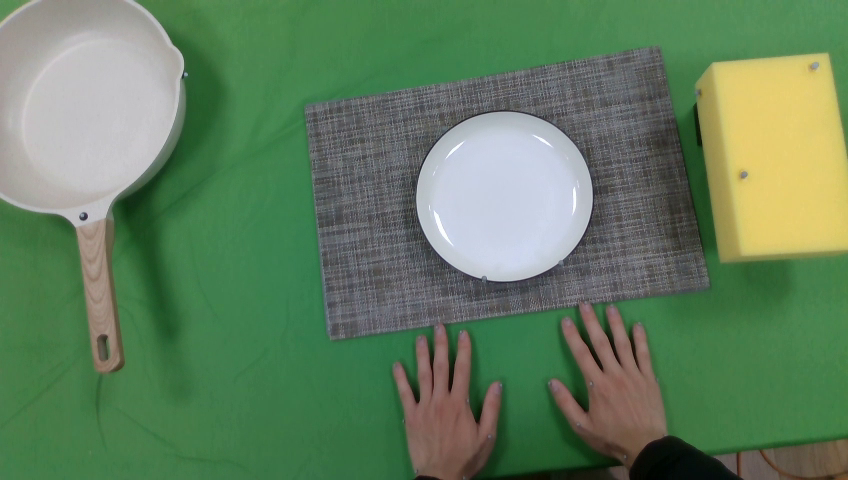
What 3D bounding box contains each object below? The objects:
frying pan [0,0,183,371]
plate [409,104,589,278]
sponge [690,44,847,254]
[{"bbox_3d":[-0.413,-0.078,0.739,0.307,0.103,0.484,-16,73,4],"label":"frying pan"},{"bbox_3d":[0.087,-0.056,0.718,0.207,0.039,0.207,-1,82,5],"label":"plate"},{"bbox_3d":[0.363,-0.093,0.639,0.118,0.061,0.206,-6,82,4],"label":"sponge"}]
